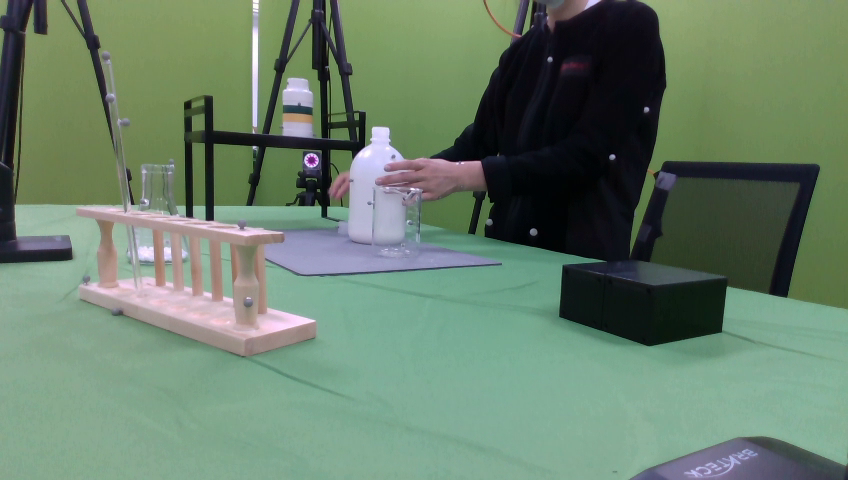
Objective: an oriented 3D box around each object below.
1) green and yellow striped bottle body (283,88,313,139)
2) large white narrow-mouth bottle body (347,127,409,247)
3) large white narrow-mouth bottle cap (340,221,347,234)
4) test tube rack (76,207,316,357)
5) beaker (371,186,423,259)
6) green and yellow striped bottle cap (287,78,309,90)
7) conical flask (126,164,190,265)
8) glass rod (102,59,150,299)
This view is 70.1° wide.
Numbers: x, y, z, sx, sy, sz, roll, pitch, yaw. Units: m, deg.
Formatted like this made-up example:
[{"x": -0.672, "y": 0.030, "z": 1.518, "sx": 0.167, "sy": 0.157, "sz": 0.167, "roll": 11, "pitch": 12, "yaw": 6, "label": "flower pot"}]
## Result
[{"x": -0.266, "y": -0.275, "z": 1.275, "sx": 0.063, "sy": 0.119, "sz": 0.063, "roll": 3, "pitch": 7, "yaw": 0, "label": "green and yellow striped bottle body"}, {"x": -0.075, "y": -0.091, "z": 1.010, "sx": 0.102, "sy": 0.194, "sz": 0.102, "roll": 4, "pitch": 8, "yaw": 0, "label": "large white narrow-mouth bottle body"}, {"x": -0.139, "y": -0.023, "z": 1.127, "sx": 0.038, "sy": 0.024, "sz": 0.037, "roll": 4, "pitch": 8, "yaw": 0, "label": "large white narrow-mouth bottle cap"}, {"x": -0.196, "y": 0.023, "z": 0.500, "sx": 0.241, "sy": 0.085, "sz": 0.067, "roll": 8, "pitch": 9, "yaw": 36, "label": "test tube rack"}, {"x": -0.038, "y": -0.026, "z": 0.869, "sx": 0.074, "sy": 0.100, "sz": 0.083, "roll": -1, "pitch": 8, "yaw": -22, "label": "beaker"}, {"x": -0.265, "y": -0.326, "z": 1.268, "sx": 0.045, "sy": 0.020, "sz": 0.045, "roll": 4, "pitch": 6, "yaw": 0, "label": "green and yellow striped bottle cap"}, {"x": -0.332, "y": -0.033, "z": 0.756, "sx": 0.075, "sy": 0.122, "sz": 0.075, "roll": 2, "pitch": 7, "yaw": 0, "label": "conical flask"}, {"x": -0.243, "y": -0.045, "z": 0.496, "sx": 0.008, "sy": 0.199, "sz": 0.008, "roll": -4, "pitch": 13, "yaw": 1, "label": "glass rod"}]
